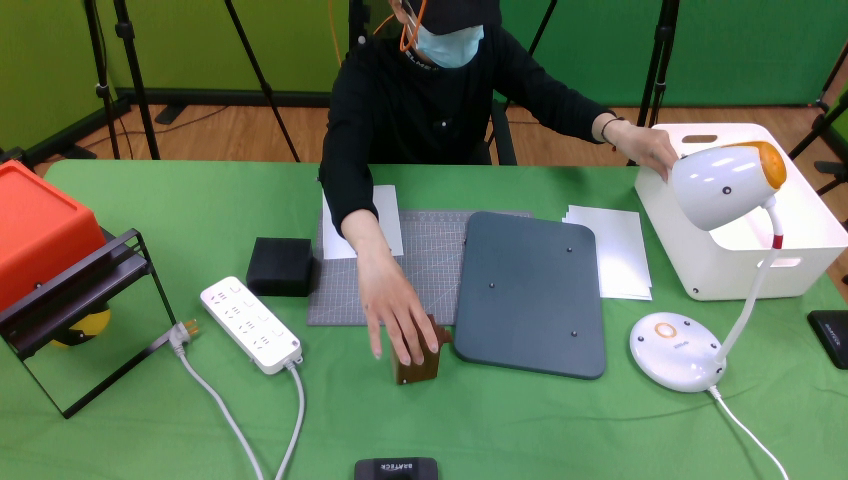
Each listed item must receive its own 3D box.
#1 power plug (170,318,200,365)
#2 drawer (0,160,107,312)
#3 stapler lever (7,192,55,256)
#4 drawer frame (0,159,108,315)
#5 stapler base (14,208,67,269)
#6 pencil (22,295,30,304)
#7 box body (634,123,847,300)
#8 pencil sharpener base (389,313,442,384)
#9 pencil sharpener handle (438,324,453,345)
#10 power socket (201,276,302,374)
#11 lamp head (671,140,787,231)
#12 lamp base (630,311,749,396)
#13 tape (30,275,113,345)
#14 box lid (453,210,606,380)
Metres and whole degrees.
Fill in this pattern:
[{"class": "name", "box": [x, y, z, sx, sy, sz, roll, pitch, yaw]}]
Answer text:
[{"class": "power plug", "box": [-0.392, 0.167, 1.014, 0.052, 0.035, 0.072, -30, 91, -24]}, {"class": "drawer", "box": [-0.610, -0.001, 0.866, 0.194, 0.073, 0.211, 29, 52, 21]}, {"class": "stapler lever", "box": [-0.575, -0.026, 0.885, 0.027, 0.040, 0.117, -31, 56, -25]}, {"class": "drawer frame", "box": [-0.611, 0.000, 0.863, 0.201, 0.083, 0.213, 27, 51, 20]}, {"class": "stapler base", "box": [-0.577, -0.010, 0.903, 0.041, 0.024, 0.130, -30, 57, -25]}, {"class": "pencil", "box": [-0.591, 0.010, 0.883, 0.012, 0.012, 0.193, -17, 61, -19]}, {"class": "box body", "box": [0.601, -0.062, 1.203, 0.254, 0.161, 0.361, -2, 47, -6]}, {"class": "pencil sharpener base", "box": [-0.013, 0.175, 0.971, 0.077, 0.107, 0.061, -7, 47, -12]}, {"class": "pencil sharpener handle", "box": [0.036, 0.155, 0.976, 0.031, 0.068, 0.036, -7, 69, -12]}, {"class": "power socket", "box": [-0.297, 0.141, 1.034, 0.072, 0.033, 0.225, -34, 58, -30]}, {"class": "lamp head", "box": [0.415, -0.078, 0.811, 0.113, 0.123, 0.112, 12, 70, -37]}, {"class": "lamp base", "box": [0.447, 0.143, 0.983, 0.161, 0.181, 0.178, -24, 55, -24]}, {"class": "tape", "box": [-0.594, 0.117, 1.021, 0.117, 0.053, 0.116, 3, 46, -2]}, {"class": "box lid", "box": [0.200, 0.085, 1.138, 0.263, 0.015, 0.369, 8, 47, 3]}]
